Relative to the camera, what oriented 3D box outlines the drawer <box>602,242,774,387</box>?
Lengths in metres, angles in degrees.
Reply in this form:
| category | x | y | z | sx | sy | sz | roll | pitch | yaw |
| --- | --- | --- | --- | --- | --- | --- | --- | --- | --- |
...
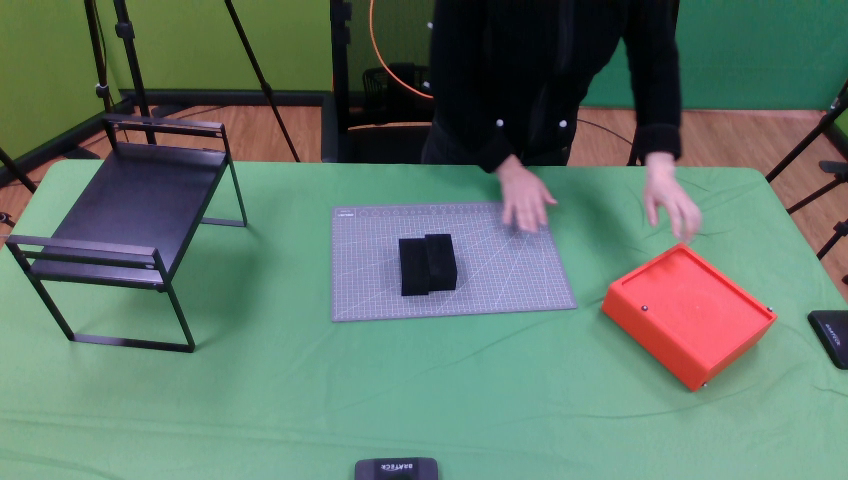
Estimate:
| category | x | y | z | sx | sy | sz | roll | pitch | yaw |
| --- | --- | --- | --- | --- | --- | --- | --- | --- | --- |
| drawer | 0.460 | 0.124 | 1.068 | 0.194 | 0.073 | 0.210 | -25 | 53 | -26 |

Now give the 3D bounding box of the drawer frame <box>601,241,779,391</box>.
| category | x | y | z | sx | sy | sz | roll | pitch | yaw |
| --- | --- | --- | --- | --- | --- | --- | --- | --- | --- |
| drawer frame | 0.462 | 0.124 | 1.066 | 0.202 | 0.083 | 0.212 | -26 | 54 | -26 |

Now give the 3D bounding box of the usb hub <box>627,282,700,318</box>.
| category | x | y | z | sx | sy | sz | roll | pitch | yaw |
| --- | --- | --- | --- | --- | --- | --- | --- | --- | --- |
| usb hub | 0.435 | 0.109 | 1.102 | 0.125 | 0.025 | 0.049 | -9 | 46 | -19 |
